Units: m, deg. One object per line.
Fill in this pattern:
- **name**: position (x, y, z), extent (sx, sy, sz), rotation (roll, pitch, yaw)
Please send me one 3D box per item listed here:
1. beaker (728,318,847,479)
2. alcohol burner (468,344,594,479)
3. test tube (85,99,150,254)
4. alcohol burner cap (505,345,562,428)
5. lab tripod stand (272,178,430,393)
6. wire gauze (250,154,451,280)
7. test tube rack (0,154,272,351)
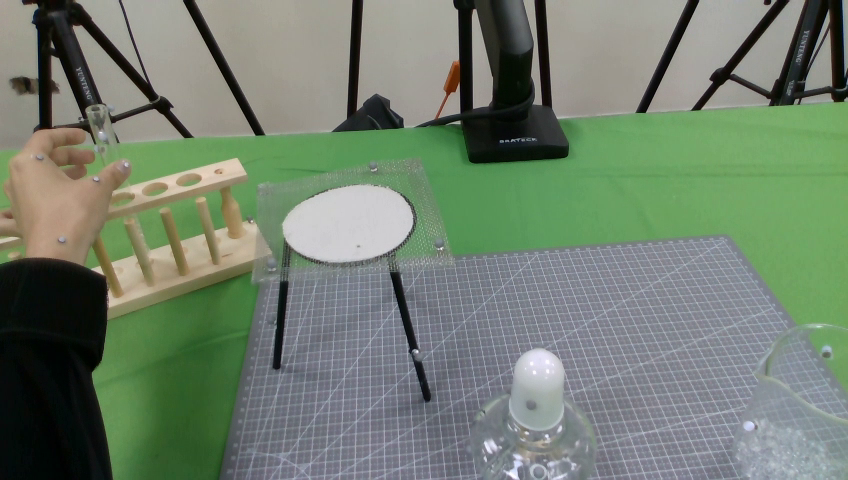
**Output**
- **beaker**: position (0.232, 0.109, 0.369), extent (0.084, 0.101, 0.073), rotation (3, 39, 8)
- **alcohol burner**: position (0.065, 0.108, 0.367), extent (0.078, 0.120, 0.077), rotation (-1, 37, 1)
- **test tube**: position (-0.263, -0.049, 0.525), extent (0.017, 0.151, 0.017), rotation (1, 36, 0)
- **alcohol burner cap**: position (0.063, 0.080, 0.344), extent (0.034, 0.048, 0.033), rotation (-2, 41, 2)
- **lab tripod stand**: position (-0.051, 0.034, 0.448), extent (0.148, 0.133, 0.147), rotation (-2, 41, 2)
- **wire gauze**: position (-0.054, -0.018, 0.406), extent (0.125, 0.011, 0.120), rotation (-8, 39, -6)
- **test tube rack**: position (-0.269, 0.006, 0.537), extent (0.243, 0.086, 0.066), rotation (-20, 42, -21)
